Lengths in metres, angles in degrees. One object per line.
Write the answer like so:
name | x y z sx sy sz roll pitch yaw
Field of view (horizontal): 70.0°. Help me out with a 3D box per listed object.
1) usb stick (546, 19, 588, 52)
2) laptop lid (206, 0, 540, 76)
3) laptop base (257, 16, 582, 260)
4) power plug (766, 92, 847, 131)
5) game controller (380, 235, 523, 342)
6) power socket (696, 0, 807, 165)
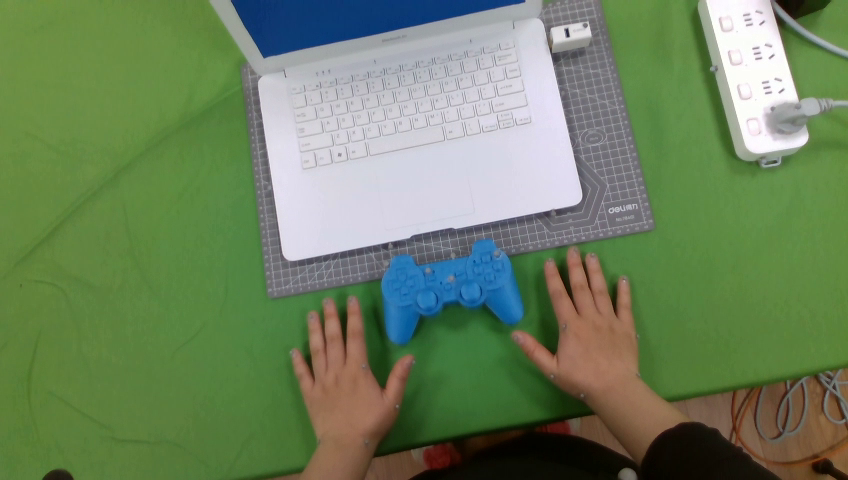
usb stick | 0.161 -0.238 0.711 0.059 0.027 0.021 -11 79 7
laptop lid | -0.049 -0.275 0.628 0.356 0.243 0.013 -12 70 4
laptop base | -0.012 -0.122 0.717 0.354 0.023 0.234 -12 82 3
power plug | 0.409 -0.135 0.654 0.072 0.053 0.035 3 79 2
game controller | 0.027 0.052 0.666 0.155 0.052 0.096 -11 76 3
power socket | 0.370 -0.198 0.690 0.072 0.033 0.225 -9 79 4
